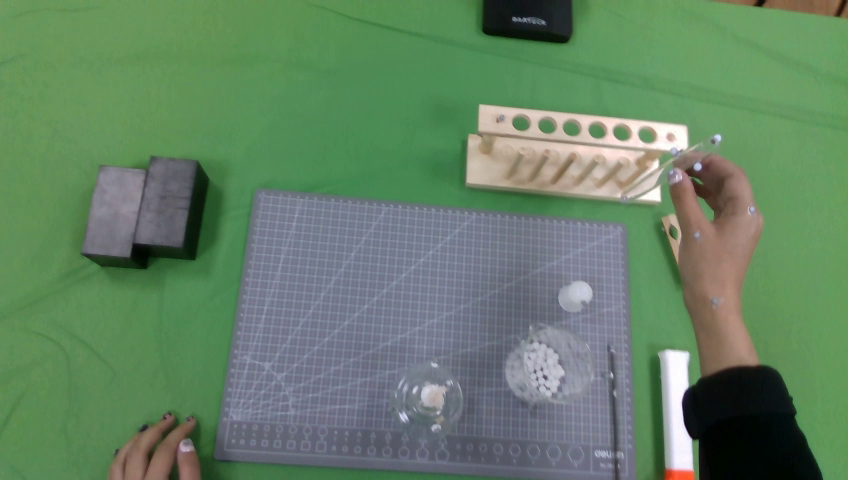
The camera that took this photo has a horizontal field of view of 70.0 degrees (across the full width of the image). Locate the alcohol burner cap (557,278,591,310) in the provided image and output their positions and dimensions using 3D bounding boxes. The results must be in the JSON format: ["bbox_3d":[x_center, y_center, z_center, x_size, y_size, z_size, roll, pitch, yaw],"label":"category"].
[{"bbox_3d":[0.174,0.060,0.695,0.034,0.048,0.033,2,74,-5],"label":"alcohol burner cap"}]

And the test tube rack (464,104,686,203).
[{"bbox_3d":[0.175,-0.100,0.721,0.243,0.085,0.066,5,73,-5],"label":"test tube rack"}]

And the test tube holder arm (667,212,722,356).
[{"bbox_3d":[0.323,0.051,0.727,0.013,0.015,0.177,-22,75,23],"label":"test tube holder arm"}]

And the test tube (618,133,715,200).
[{"bbox_3d":[0.217,-0.063,0.559,0.017,0.150,0.017,2,77,-8],"label":"test tube"}]

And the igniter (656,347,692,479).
[{"bbox_3d":[0.274,0.255,0.660,0.057,0.025,0.275,9,73,-14],"label":"igniter"}]

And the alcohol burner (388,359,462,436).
[{"bbox_3d":[0.003,0.157,0.611,0.078,0.119,0.077,2,71,-5],"label":"alcohol burner"}]

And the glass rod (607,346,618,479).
[{"bbox_3d":[0.209,0.217,0.671,0.008,0.008,0.198,5,73,-5],"label":"glass rod"}]

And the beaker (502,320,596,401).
[{"bbox_3d":[0.124,0.130,0.639,0.074,0.100,0.083,-27,77,-13],"label":"beaker"}]

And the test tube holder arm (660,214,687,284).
[{"bbox_3d":[0.307,0.011,0.739,0.010,0.015,0.087,-20,76,24],"label":"test tube holder arm"}]
